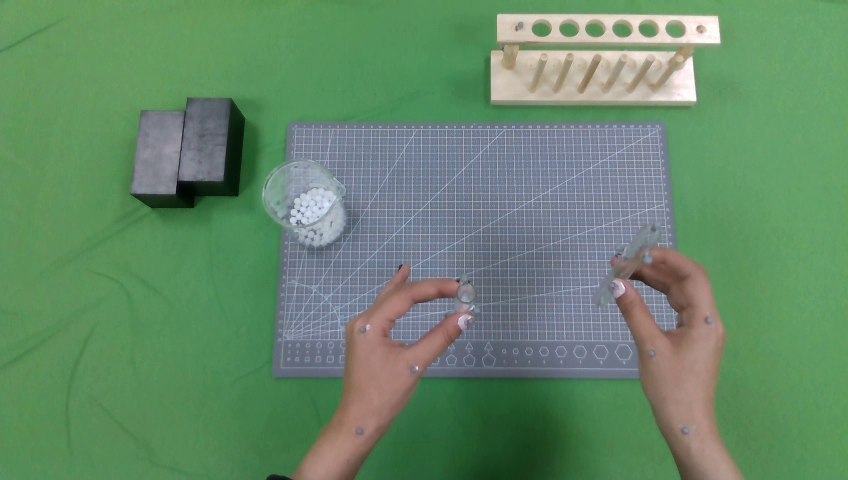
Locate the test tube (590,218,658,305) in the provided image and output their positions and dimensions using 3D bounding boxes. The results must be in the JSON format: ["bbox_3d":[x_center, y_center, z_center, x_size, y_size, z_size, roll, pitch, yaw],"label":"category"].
[{"bbox_3d":[0.157,0.023,0.489,0.017,0.151,0.017,0,65,1],"label":"test tube"}]

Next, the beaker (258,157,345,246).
[{"bbox_3d":[-0.124,-0.038,0.651,0.084,0.100,0.073,-7,77,-2],"label":"beaker"}]

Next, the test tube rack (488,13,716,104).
[{"bbox_3d":[0.198,-0.207,0.699,0.242,0.085,0.066,1,76,1],"label":"test tube rack"}]

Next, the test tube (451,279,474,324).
[{"bbox_3d":[0.031,0.054,0.501,0.017,0.151,0.017,0,75,2],"label":"test tube"}]
